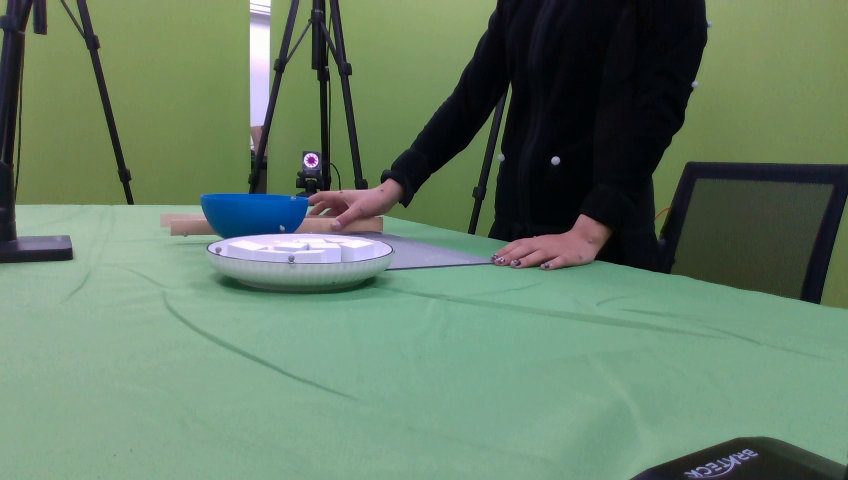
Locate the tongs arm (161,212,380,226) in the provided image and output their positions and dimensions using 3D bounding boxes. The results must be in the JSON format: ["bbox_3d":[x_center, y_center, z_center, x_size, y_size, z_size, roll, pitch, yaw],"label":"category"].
[{"bbox_3d":[-0.269,-0.036,1.108,0.389,0.028,0.028,0,2,-21],"label":"tongs arm"}]

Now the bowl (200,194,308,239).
[{"bbox_3d":[-0.245,-0.025,0.879,0.151,0.077,0.151,2,7,0],"label":"bowl"}]

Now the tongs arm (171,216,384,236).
[{"bbox_3d":[-0.233,-0.026,1.042,0.387,0.026,0.050,-2,7,-33],"label":"tongs arm"}]

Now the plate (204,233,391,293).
[{"bbox_3d":[-0.143,0.025,0.697,0.208,0.039,0.207,3,9,0],"label":"plate"}]
